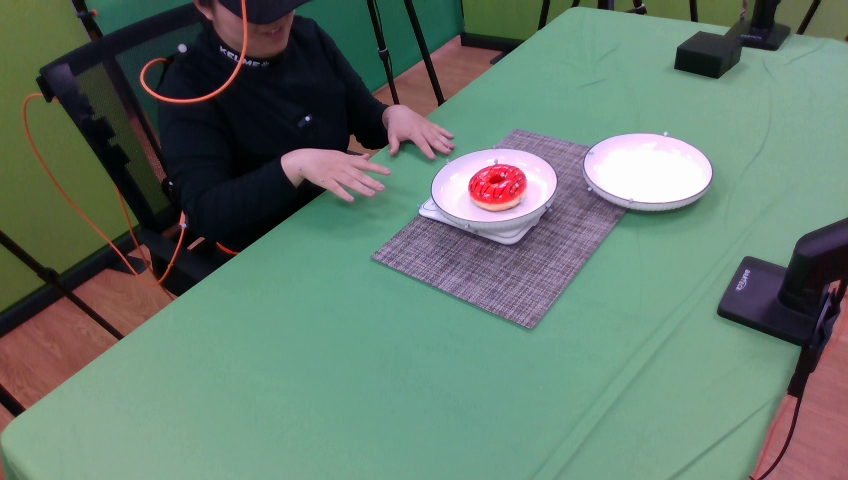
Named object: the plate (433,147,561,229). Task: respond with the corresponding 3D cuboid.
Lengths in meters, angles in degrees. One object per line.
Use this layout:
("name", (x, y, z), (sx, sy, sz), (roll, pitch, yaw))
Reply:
("plate", (0.120, -0.082, 0.996), (0.207, 0.039, 0.206), (-6, 40, 5))

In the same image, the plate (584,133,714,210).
("plate", (0.379, -0.113, 1.030), (0.209, 0.038, 0.208), (-4, 41, 4))

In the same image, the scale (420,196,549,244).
("scale", (0.106, -0.065, 1.029), (0.199, 0.032, 0.149), (21, 48, 32))

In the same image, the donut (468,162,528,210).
("donut", (0.121, -0.088, 0.985), (0.099, 0.048, 0.098), (-7, 42, 7))
